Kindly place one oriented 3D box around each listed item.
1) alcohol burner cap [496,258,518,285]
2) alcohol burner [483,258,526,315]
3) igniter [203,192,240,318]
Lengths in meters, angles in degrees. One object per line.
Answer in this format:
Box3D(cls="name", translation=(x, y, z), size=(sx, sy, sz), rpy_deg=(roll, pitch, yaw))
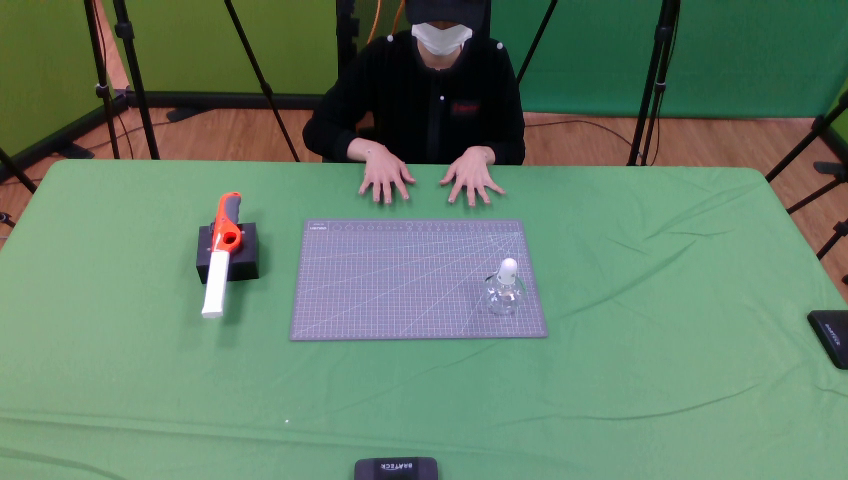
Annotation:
Box3D(cls="alcohol burner cap", translation=(0.144, 0.051, 1.041), size=(0.034, 0.048, 0.033), rpy_deg=(3, 45, -3))
Box3D(cls="alcohol burner", translation=(0.143, 0.076, 1.067), size=(0.078, 0.120, 0.077), rpy_deg=(1, 45, -1))
Box3D(cls="igniter", translation=(-0.361, 0.017, 1.084), size=(0.057, 0.025, 0.274), rpy_deg=(-3, 51, -6))
